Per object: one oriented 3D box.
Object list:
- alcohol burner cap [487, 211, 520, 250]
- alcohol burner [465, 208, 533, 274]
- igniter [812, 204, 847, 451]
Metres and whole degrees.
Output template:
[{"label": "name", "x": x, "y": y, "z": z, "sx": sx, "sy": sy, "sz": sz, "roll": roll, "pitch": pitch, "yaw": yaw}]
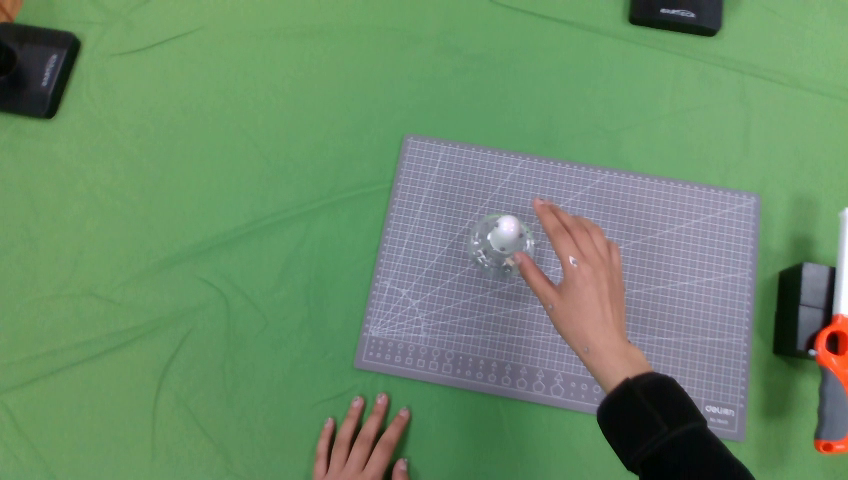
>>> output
[{"label": "alcohol burner cap", "x": 0.086, "y": -0.012, "z": 0.643, "sx": 0.034, "sy": 0.048, "sz": 0.033, "roll": 0, "pitch": 68, "yaw": -1}, {"label": "alcohol burner", "x": 0.086, "y": -0.003, "z": 0.678, "sx": 0.078, "sy": 0.119, "sz": 0.077, "roll": 1, "pitch": 75, "yaw": -2}, {"label": "igniter", "x": 0.454, "y": 0.091, "z": 0.655, "sx": 0.057, "sy": 0.025, "sz": 0.275, "roll": 14, "pitch": 75, "yaw": 6}]
